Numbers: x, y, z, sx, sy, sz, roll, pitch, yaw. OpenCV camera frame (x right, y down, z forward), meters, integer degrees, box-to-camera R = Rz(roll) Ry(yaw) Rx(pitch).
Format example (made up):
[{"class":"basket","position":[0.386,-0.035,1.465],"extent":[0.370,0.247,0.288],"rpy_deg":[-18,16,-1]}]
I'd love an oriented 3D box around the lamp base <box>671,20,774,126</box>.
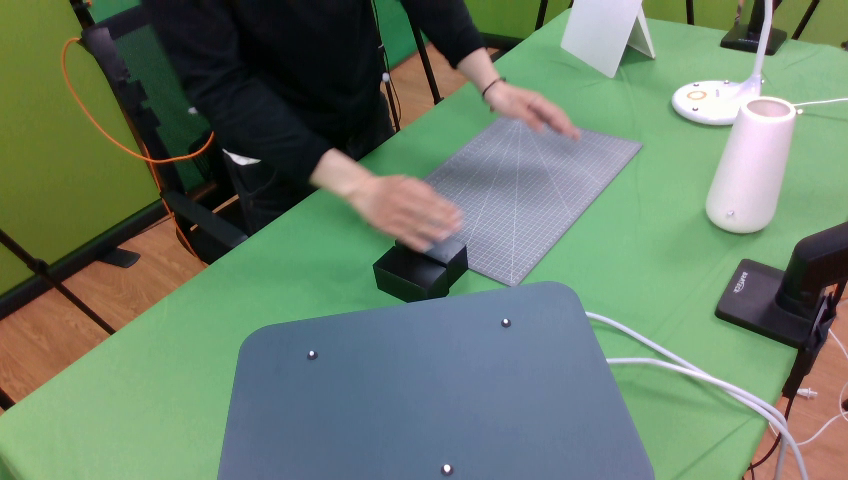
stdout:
[{"class":"lamp base","position":[0.581,-0.332,1.154],"extent":[0.179,0.181,0.160],"rpy_deg":[2,42,7]}]

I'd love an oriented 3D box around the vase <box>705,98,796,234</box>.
[{"class":"vase","position":[0.480,-0.104,0.889],"extent":[0.098,0.201,0.097],"rpy_deg":[-4,42,4]}]

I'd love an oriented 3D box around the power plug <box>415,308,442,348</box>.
[{"class":"power plug","position":[0.004,0.121,0.786],"extent":[0.035,0.053,0.072],"rpy_deg":[1,45,8]}]

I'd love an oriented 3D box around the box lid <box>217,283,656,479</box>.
[{"class":"box lid","position":[-0.004,0.155,0.568],"extent":[0.372,0.015,0.261],"rpy_deg":[-8,39,-2]}]

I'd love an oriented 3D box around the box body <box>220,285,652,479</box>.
[{"class":"box body","position":[0.005,0.211,0.616],"extent":[0.364,0.161,0.252],"rpy_deg":[-9,40,-2]}]

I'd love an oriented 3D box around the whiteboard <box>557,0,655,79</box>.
[{"class":"whiteboard","position":[0.462,-0.542,1.367],"extent":[0.145,0.306,0.215],"rpy_deg":[-3,36,-25]}]

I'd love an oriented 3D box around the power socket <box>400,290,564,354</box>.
[{"class":"power socket","position":[0.079,0.111,0.823],"extent":[0.227,0.033,0.072],"rpy_deg":[-6,41,1]}]
